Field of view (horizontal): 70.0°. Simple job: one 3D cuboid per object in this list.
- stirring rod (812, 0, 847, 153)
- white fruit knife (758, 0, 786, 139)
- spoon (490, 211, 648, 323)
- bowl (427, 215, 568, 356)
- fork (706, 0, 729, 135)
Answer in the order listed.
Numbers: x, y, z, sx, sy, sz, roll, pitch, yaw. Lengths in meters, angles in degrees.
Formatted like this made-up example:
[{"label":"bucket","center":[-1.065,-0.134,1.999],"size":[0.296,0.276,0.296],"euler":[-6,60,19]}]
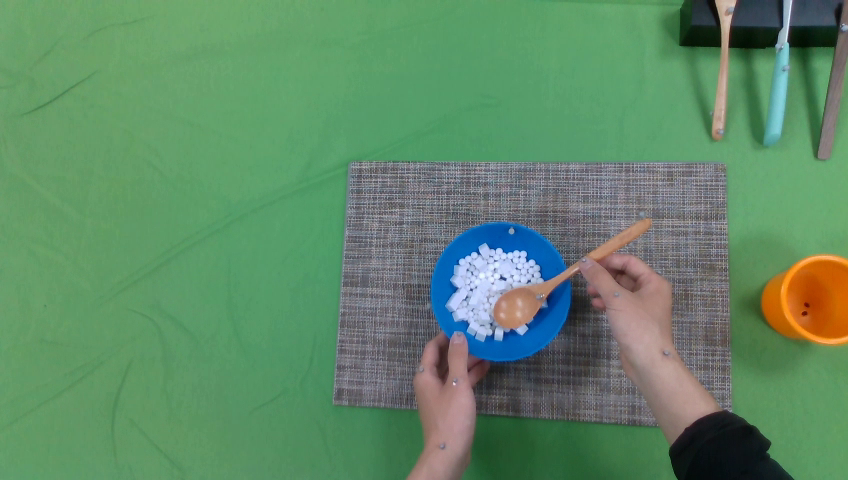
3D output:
[{"label":"stirring rod","center":[0.458,-0.187,0.679],"size":[0.014,0.006,0.176],"euler":[4,101,5]},{"label":"white fruit knife","center":[0.396,-0.219,0.681],"size":[0.016,0.027,0.208],"euler":[2,98,5]},{"label":"spoon","center":[0.148,0.029,0.633],"size":[0.194,0.022,0.041],"euler":[-37,73,26]},{"label":"bowl","center":[0.082,0.054,0.678],"size":[0.151,0.077,0.151],"euler":[-1,81,7]},{"label":"fork","center":[0.335,-0.225,0.691],"size":[0.028,0.018,0.208],"euler":[-1,101,5]}]
